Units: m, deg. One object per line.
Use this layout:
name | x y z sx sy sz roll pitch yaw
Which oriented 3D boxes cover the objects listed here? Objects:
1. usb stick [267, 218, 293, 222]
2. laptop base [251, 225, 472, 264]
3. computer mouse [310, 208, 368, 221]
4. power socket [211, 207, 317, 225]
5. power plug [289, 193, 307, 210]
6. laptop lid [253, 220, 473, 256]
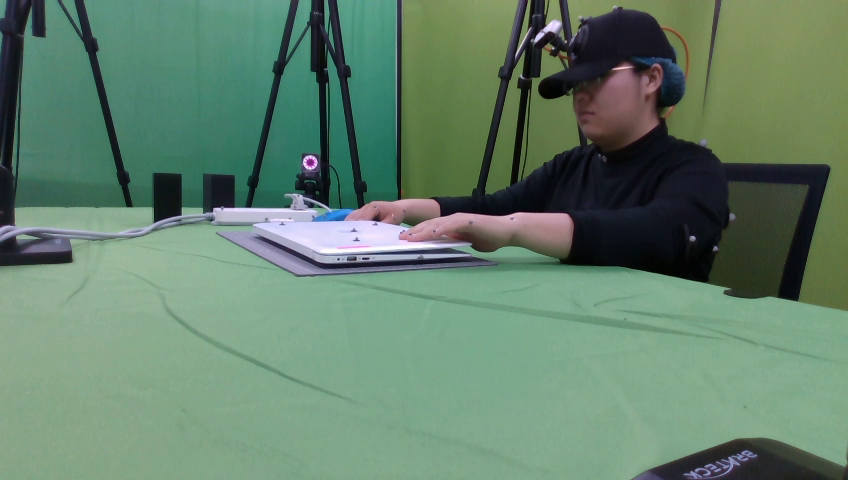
usb stick | -0.272 -0.026 1.107 0.059 0.027 0.021 -4 11 -27
laptop base | -0.116 0.007 0.955 0.237 0.023 0.352 2 6 -31
computer mouse | -0.179 -0.045 1.274 0.118 0.041 0.062 -6 13 -29
power socket | -0.334 -0.051 1.282 0.228 0.032 0.072 -1 9 -27
power plug | -0.281 -0.076 1.340 0.035 0.052 0.072 4 5 -17
laptop lid | -0.113 -0.010 0.954 0.243 0.013 0.355 -2 9 -28
